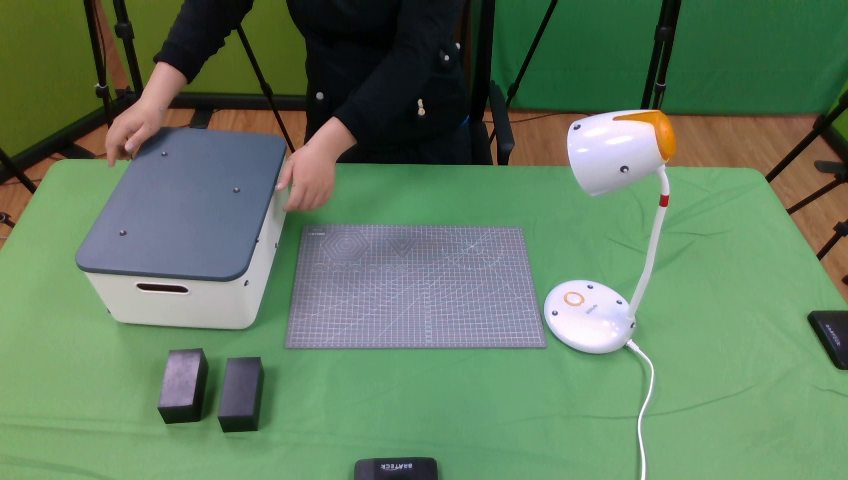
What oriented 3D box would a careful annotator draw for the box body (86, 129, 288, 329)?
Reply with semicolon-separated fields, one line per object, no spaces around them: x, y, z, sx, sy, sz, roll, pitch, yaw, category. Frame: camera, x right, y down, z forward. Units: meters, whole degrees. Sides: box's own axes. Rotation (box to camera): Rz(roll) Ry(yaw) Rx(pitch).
-0.401;-0.025;1.094;0.254;0.161;0.362;3;46;-1;box body

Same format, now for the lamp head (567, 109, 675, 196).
0.272;-0.123;0.818;0.122;0.113;0.112;-9;35;37;lamp head

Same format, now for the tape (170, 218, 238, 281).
-0.406;0.017;1.121;0.117;0.053;0.116;2;46;-2;tape

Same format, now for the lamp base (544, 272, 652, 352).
0.310;0.086;1.029;0.178;0.181;0.160;32;52;21;lamp base

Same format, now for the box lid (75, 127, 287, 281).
-0.398;-0.075;1.039;0.263;0.015;0.369;4;45;-1;box lid
